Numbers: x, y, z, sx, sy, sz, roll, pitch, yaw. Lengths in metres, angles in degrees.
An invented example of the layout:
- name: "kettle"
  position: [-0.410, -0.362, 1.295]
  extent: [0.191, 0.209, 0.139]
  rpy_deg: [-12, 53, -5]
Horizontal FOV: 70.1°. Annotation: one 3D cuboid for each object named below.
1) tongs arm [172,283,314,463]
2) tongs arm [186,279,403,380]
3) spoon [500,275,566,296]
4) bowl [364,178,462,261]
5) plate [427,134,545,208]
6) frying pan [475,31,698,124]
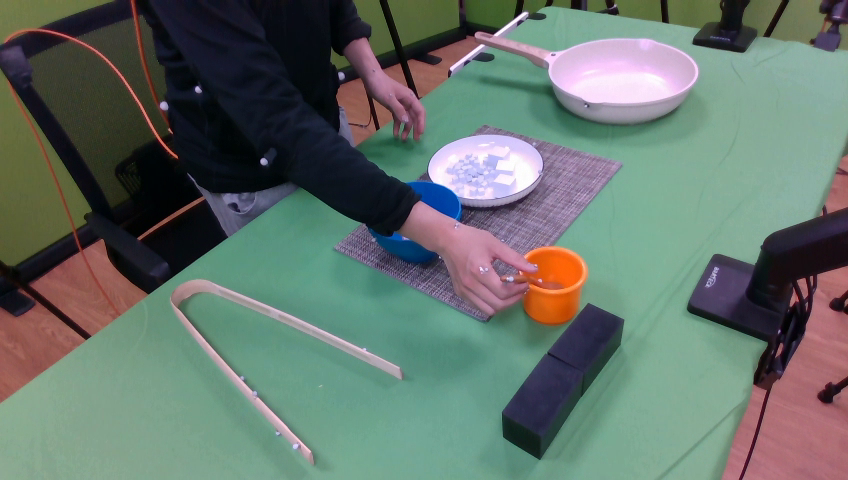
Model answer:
- name: "tongs arm"
  position: [-0.246, 0.161, 0.806]
  extent: [0.381, 0.026, 0.051]
  rpy_deg: [29, 51, 36]
- name: "tongs arm"
  position: [-0.193, 0.120, 0.853]
  extent: [0.385, 0.028, 0.028]
  rpy_deg: [18, 49, 26]
- name: "spoon"
  position: [0.140, 0.056, 0.785]
  extent: [0.041, 0.195, 0.021]
  rpy_deg: [13, 87, 32]
- name: "bowl"
  position: [-0.013, -0.021, 0.943]
  extent: [0.151, 0.077, 0.150]
  rpy_deg: [-4, 41, 4]
- name: "plate"
  position: [0.110, -0.119, 1.073]
  extent: [0.207, 0.039, 0.206]
  rpy_deg: [-4, 41, 4]
- name: "frying pan"
  position: [0.320, -0.371, 1.290]
  extent: [0.485, 0.103, 0.307]
  rpy_deg: [28, 50, 23]
